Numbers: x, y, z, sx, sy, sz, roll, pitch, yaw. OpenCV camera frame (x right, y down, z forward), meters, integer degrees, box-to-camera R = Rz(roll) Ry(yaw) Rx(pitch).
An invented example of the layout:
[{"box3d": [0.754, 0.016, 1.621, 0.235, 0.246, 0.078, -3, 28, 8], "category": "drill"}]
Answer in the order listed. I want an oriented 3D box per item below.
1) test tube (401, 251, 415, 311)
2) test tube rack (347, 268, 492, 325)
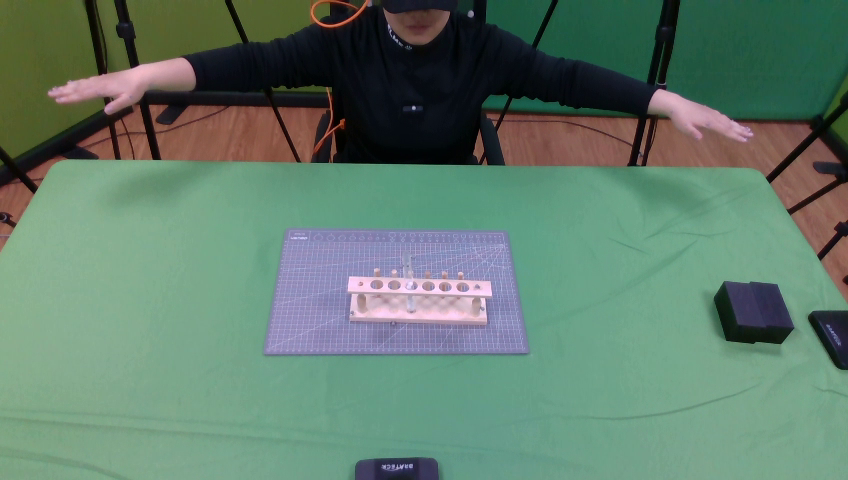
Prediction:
[{"box3d": [-0.026, 0.072, 1.011, 0.017, 0.151, 0.017, -1, 48, 2], "category": "test tube"}, {"box3d": [-0.009, 0.095, 1.059, 0.242, 0.085, 0.066, 2, 46, -2], "category": "test tube rack"}]
